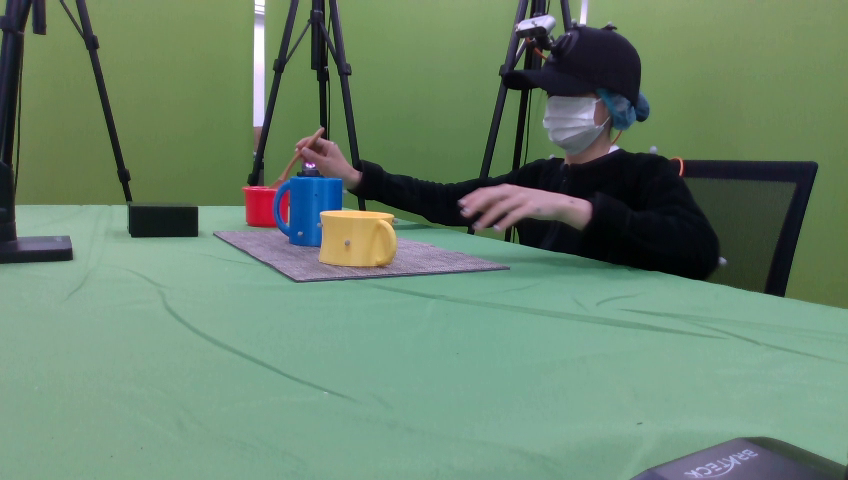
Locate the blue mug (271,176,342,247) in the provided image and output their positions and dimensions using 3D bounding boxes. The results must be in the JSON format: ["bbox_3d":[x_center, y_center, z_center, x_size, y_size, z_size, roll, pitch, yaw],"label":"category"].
[{"bbox_3d":[-0.190,-0.047,0.963,0.116,0.106,0.082,5,7,13],"label":"blue mug"}]

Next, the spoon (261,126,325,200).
[{"bbox_3d":[-0.263,-0.156,1.220,0.022,0.193,0.041,35,4,-42],"label":"spoon"}]

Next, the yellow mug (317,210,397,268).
[{"bbox_3d":[-0.080,-0.001,0.796,0.130,0.064,0.100,11,11,44],"label":"yellow mug"}]
